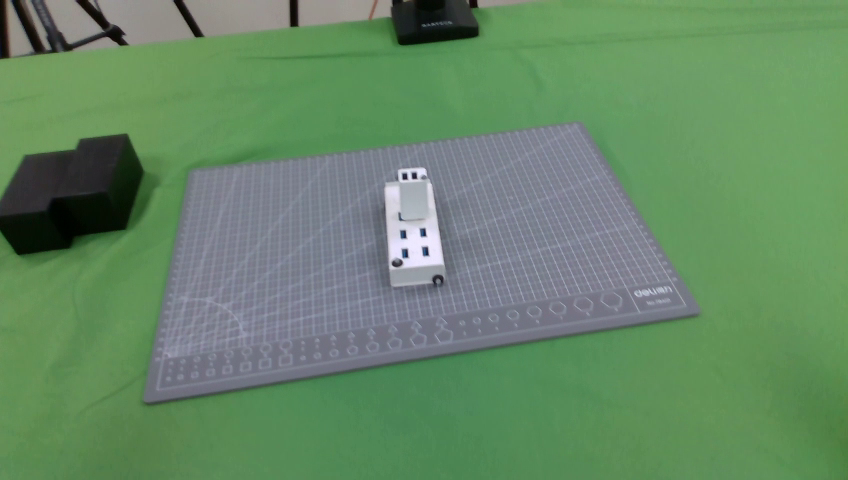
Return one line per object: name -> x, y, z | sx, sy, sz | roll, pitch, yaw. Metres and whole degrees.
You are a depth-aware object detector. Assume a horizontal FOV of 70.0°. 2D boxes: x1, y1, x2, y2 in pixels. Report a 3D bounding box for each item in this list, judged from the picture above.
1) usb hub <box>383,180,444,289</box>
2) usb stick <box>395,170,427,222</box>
usb hub -> -0.013, -0.008, 0.572 | 0.049, 0.025, 0.124 | -6, 43, -2
usb stick -> -0.011, -0.035, 0.557 | 0.027, 0.060, 0.021 | -9, 44, -2
